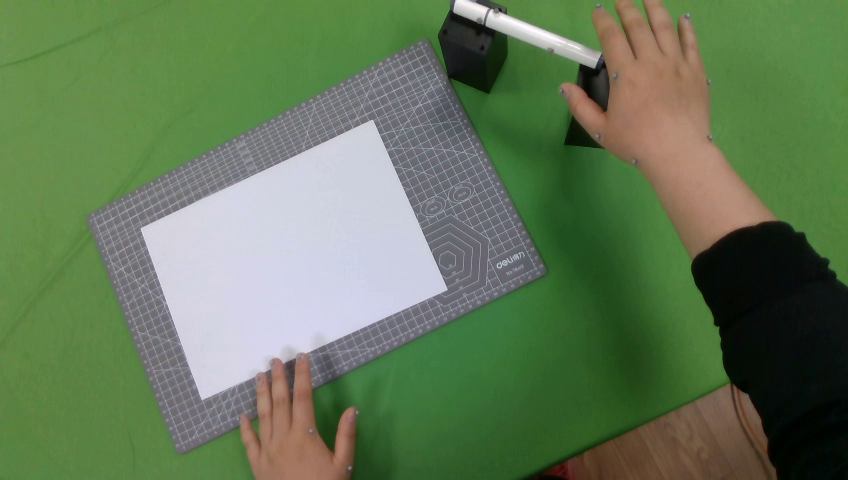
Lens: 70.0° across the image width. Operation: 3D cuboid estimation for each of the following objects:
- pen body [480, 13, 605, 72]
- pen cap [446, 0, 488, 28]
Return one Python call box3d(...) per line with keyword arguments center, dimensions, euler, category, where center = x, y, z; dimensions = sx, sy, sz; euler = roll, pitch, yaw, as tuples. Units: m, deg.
box3d(center=(0.097, -0.188, 0.563), dimensions=(0.144, 0.017, 0.017), euler=(24, 87, 8), category="pen body")
box3d(center=(0.040, -0.215, 0.572), dimensions=(0.038, 0.017, 0.017), euler=(25, 87, 10), category="pen cap")
